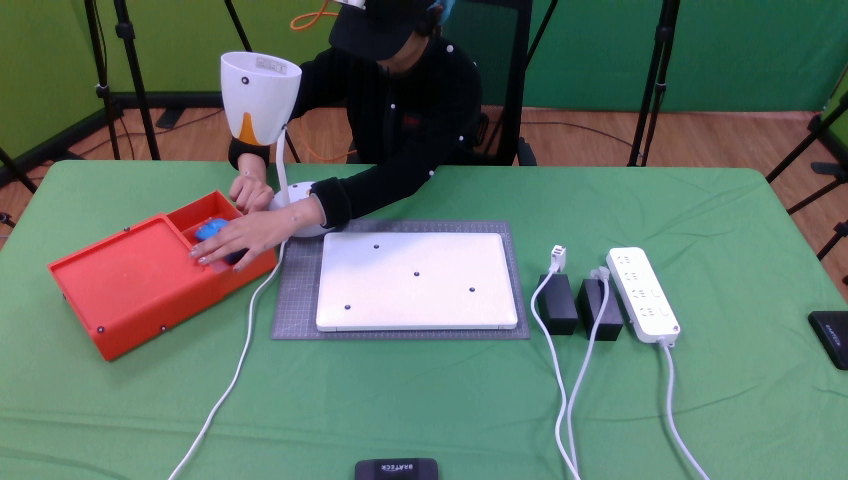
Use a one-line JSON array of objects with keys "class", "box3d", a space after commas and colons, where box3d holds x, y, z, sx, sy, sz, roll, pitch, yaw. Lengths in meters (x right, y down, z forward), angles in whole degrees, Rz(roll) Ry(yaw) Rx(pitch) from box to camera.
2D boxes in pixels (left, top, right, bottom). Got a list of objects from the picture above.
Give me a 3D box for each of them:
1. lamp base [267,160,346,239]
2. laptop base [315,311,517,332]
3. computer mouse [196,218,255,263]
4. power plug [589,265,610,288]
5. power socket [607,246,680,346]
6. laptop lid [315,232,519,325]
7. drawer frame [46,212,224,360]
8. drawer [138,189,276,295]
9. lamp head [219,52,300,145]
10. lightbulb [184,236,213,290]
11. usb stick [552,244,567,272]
[{"class": "lamp base", "box3d": [-0.241, -0.111, 1.175, 0.160, 0.181, 0.178, 11, 48, 10]}, {"class": "laptop base", "box3d": [-0.016, 0.075, 1.125, 0.355, 0.023, 0.234, 0, 42, -4]}, {"class": "computer mouse", "box3d": [-0.380, -0.005, 1.155, 0.116, 0.041, 0.062, 29, 54, 28]}, {"class": "power plug", "box3d": [0.318, 0.073, 1.108, 0.035, 0.053, 0.072, 26, 34, 13]}, {"class": "power socket", "box3d": [0.403, 0.096, 1.123, 0.072, 0.033, 0.225, -3, 46, -5]}, {"class": "laptop lid", "box3d": [-0.015, 0.065, 1.118, 0.357, 0.013, 0.240, 1, 43, -3]}, {"class": "drawer frame", "box3d": [-0.495, 0.071, 1.050, 0.213, 0.083, 0.200, -32, 56, -30]}, {"class": "drawer", "box3d": [-0.413, 0.022, 1.108, 0.212, 0.073, 0.193, -33, 57, -31]}, {"class": "lamp head", "box3d": [-0.244, -0.204, 0.890, 0.112, 0.123, 0.112, 11, 33, -7]}, {"class": "lightbulb", "box3d": [-0.411, 0.041, 1.100, 0.059, 0.060, 0.107, 9, 62, 5]}, {"class": "usb stick", "box3d": [0.251, 0.039, 1.124, 0.021, 0.059, 0.027, 14, 48, 24]}]
